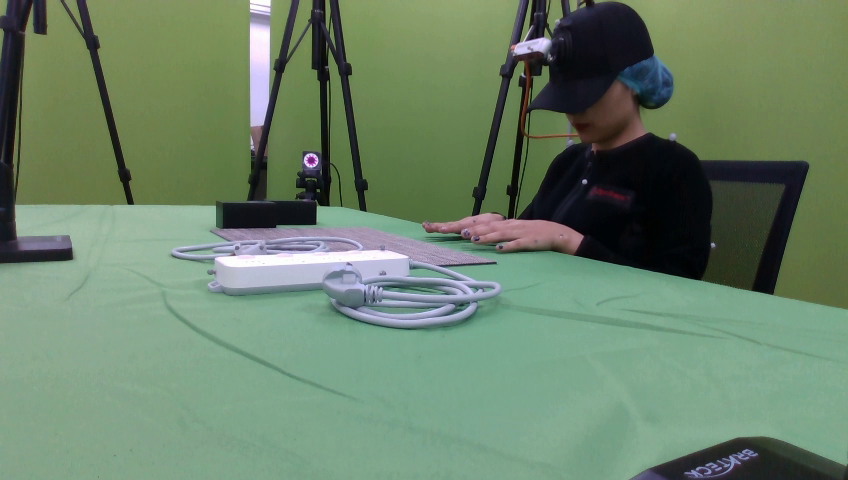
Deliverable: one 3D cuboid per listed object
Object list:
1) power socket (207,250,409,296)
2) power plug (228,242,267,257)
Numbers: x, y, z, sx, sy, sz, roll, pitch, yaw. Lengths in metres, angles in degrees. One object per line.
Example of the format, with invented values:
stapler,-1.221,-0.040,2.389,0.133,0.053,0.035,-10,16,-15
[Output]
power socket,-0.119,0.033,0.668,0.228,0.032,0.072,-2,9,-31
power plug,-0.217,0.024,0.737,0.053,0.035,0.072,-23,-5,-10
